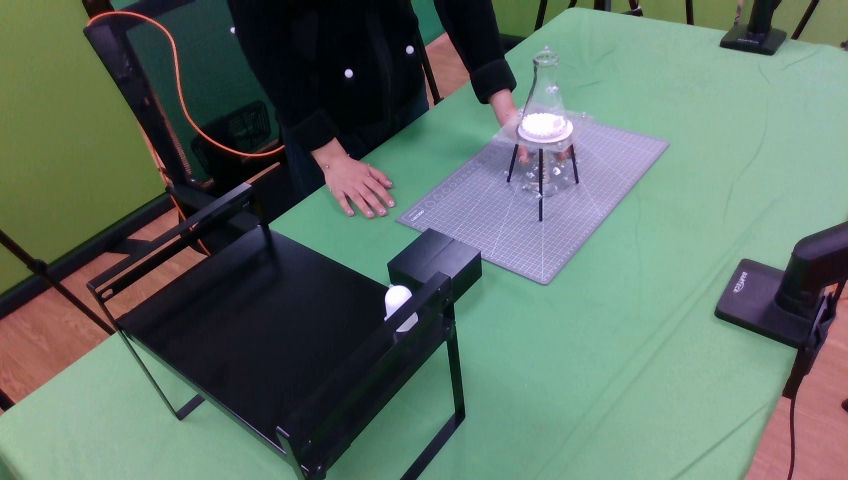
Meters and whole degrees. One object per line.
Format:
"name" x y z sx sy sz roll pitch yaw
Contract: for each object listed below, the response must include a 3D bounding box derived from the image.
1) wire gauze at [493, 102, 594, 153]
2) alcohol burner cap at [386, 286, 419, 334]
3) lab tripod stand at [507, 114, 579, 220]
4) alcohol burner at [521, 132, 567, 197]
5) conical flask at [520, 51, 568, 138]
"wire gauze" 0.191 -0.179 0.965 0.120 0.011 0.125 18 49 29
"alcohol burner cap" -0.024 0.067 0.604 0.034 0.048 0.033 -4 40 4
"lab tripod stand" 0.199 -0.128 1.005 0.148 0.132 0.147 -3 42 3
"alcohol burner" 0.204 -0.133 1.027 0.078 0.119 0.077 -5 42 5
"conical flask" 0.185 -0.223 0.926 0.075 0.122 0.075 -4 41 4
